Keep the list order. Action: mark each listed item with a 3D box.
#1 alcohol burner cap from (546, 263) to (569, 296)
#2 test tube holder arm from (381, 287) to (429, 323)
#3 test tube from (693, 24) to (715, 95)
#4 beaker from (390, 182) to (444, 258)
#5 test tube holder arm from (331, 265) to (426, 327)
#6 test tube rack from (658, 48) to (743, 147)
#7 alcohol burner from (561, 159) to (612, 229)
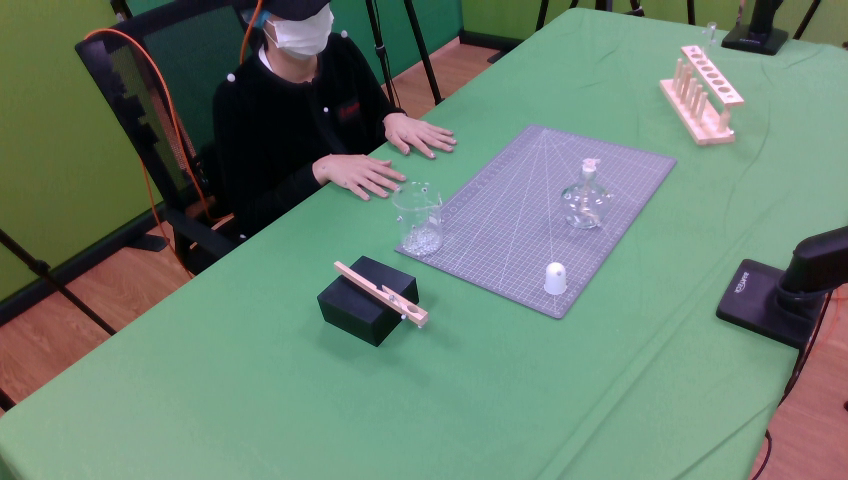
[{"bbox_3d":[0.191,0.053,0.862,0.034,0.048,0.033,-5,40,4],"label":"alcohol burner cap"},{"bbox_3d":[-0.028,0.087,0.807,0.087,0.015,0.010,25,42,33],"label":"test tube holder arm"},{"bbox_3d":[0.543,-0.348,1.177,0.017,0.151,0.017,-5,45,5],"label":"test tube"},{"bbox_3d":[-0.005,-0.028,0.946,0.083,0.101,0.074,15,45,24],"label":"beaker"},{"bbox_3d":[-0.066,0.074,0.828,0.177,0.015,0.013,25,42,33],"label":"test tube holder arm"},{"bbox_3d":[0.532,-0.284,1.181,0.067,0.085,0.241,-5,40,4],"label":"test tube rack"},{"bbox_3d":[0.257,-0.077,0.951,0.078,0.119,0.077,-3,40,3],"label":"alcohol burner"}]
